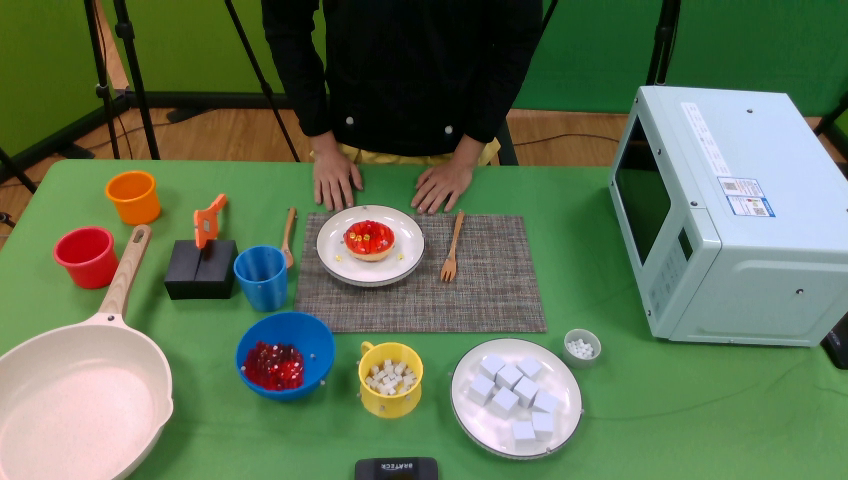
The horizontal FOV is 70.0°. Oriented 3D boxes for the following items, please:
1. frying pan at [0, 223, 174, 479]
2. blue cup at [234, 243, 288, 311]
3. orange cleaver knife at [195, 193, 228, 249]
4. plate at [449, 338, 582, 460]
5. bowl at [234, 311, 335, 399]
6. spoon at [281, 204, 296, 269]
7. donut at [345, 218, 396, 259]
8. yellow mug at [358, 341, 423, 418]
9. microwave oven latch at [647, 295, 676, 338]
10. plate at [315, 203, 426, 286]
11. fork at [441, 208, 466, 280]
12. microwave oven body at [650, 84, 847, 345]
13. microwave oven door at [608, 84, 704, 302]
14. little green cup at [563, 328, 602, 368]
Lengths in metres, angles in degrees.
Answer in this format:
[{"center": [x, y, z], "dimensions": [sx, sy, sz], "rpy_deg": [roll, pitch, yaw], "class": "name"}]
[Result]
[{"center": [-0.505, 0.169, 0.941], "dimensions": [0.307, 0.103, 0.485], "rpy_deg": [5, 54, -1], "class": "frying pan"}, {"center": [-0.276, 0.072, 1.052], "dimensions": [0.093, 0.101, 0.092], "rpy_deg": [1, 48, -1], "class": "blue cup"}, {"center": [-0.406, -0.041, 1.163], "dimensions": [0.012, 0.077, 0.210], "rpy_deg": [0, 18, -3], "class": "orange cleaver knife"}, {"center": [0.141, 0.251, 0.955], "dimensions": [0.208, 0.039, 0.206], "rpy_deg": [2, 46, -2], "class": "plate"}, {"center": [-0.214, 0.194, 0.956], "dimensions": [0.151, 0.077, 0.150], "rpy_deg": [2, 46, -2], "class": "bowl"}, {"center": [-0.266, -0.008, 1.181], "dimensions": [0.041, 0.022, 0.192], "rpy_deg": [-15, 46, 12], "class": "spoon"}, {"center": [-0.102, -0.003, 1.157], "dimensions": [0.099, 0.048, 0.098], "rpy_deg": [3, 43, -3], "class": "donut"}, {"center": [-0.063, 0.210, 0.961], "dimensions": [0.100, 0.064, 0.130], "rpy_deg": [-29, 54, -28], "class": "yellow mug"}, {"center": [0.413, 0.133, 1.060], "dimensions": [0.030, 0.029, 0.078], "rpy_deg": [4, 46, 1], "class": "microwave oven latch"}, {"center": [-0.101, 0.012, 1.159], "dimensions": [0.209, 0.038, 0.208], "rpy_deg": [2, 46, -2], "class": "plate"}, {"center": [0.061, 0.005, 1.190], "dimensions": [0.028, 0.019, 0.206], "rpy_deg": [2, 47, 14], "class": "fork"}, {"center": [0.569, -0.054, 1.116], "dimensions": [0.326, 0.261, 0.439], "rpy_deg": [2, 46, -1], "class": "microwave oven body"}, {"center": [0.424, -0.096, 1.138], "dimensions": [0.039, 0.245, 0.353], "rpy_deg": [3, 46, -1], "class": "microwave oven door"}, {"center": [0.265, 0.184, 1.025], "dimensions": [0.061, 0.039, 0.061], "rpy_deg": [1, 46, -1], "class": "little green cup"}]
